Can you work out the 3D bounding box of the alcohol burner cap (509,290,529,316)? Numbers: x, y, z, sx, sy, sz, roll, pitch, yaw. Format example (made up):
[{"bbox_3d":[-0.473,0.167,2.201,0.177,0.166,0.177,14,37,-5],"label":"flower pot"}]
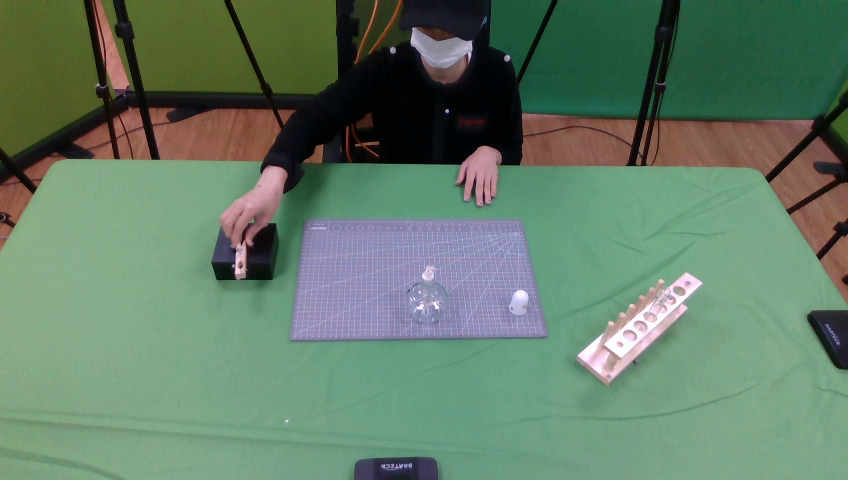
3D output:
[{"bbox_3d":[0.171,0.110,1.086,0.034,0.048,0.033,2,45,-1],"label":"alcohol burner cap"}]

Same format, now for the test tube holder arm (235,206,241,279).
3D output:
[{"bbox_3d":[-0.339,0.001,1.105,0.013,0.015,0.177,0,45,-18],"label":"test tube holder arm"}]

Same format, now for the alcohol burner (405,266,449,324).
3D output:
[{"bbox_3d":[0.005,0.089,1.043,0.078,0.120,0.077,1,45,-1],"label":"alcohol burner"}]

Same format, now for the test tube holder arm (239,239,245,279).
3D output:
[{"bbox_3d":[-0.323,0.032,1.077,0.010,0.015,0.087,0,44,-18],"label":"test tube holder arm"}]

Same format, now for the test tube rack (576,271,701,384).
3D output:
[{"bbox_3d":[0.373,0.138,1.047,0.242,0.085,0.066,-31,56,-29],"label":"test tube rack"}]

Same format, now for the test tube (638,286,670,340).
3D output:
[{"bbox_3d":[0.373,0.122,0.994,0.017,0.151,0.017,0,51,0],"label":"test tube"}]
